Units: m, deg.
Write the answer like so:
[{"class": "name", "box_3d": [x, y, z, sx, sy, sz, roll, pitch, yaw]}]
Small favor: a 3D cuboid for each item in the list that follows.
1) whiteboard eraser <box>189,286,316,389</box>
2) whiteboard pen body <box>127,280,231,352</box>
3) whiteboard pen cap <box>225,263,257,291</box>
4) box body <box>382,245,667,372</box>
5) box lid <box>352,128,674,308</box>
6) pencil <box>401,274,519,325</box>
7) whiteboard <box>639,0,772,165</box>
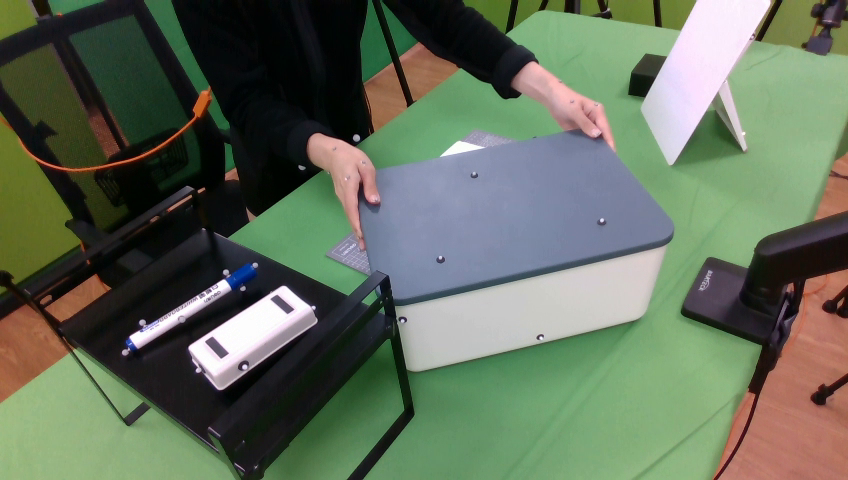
[{"class": "whiteboard eraser", "box_3d": [-0.166, 0.096, 0.593, 0.113, 0.042, 0.055, -36, 47, -29]}, {"class": "whiteboard pen body", "box_3d": [-0.248, 0.072, 0.645, 0.141, 0.017, 0.017, -35, 47, -23]}, {"class": "whiteboard pen cap", "box_3d": [-0.204, 0.041, 0.668, 0.033, 0.018, 0.018, -36, 48, -22]}, {"class": "box body", "box_3d": [0.108, 0.013, 0.834, 0.365, 0.161, 0.252, -12, 41, -6]}, {"class": "box lid", "box_3d": [0.102, -0.044, 0.785, 0.372, 0.015, 0.261, -13, 42, -6]}, {"class": "pencil", "box_3d": [0.056, 0.082, 0.872, 0.195, 0.012, 0.012, -20, 42, -20]}, {"class": "whiteboard", "box_3d": [0.543, -0.298, 1.076, 0.144, 0.305, 0.216, 12, 40, -7]}]
